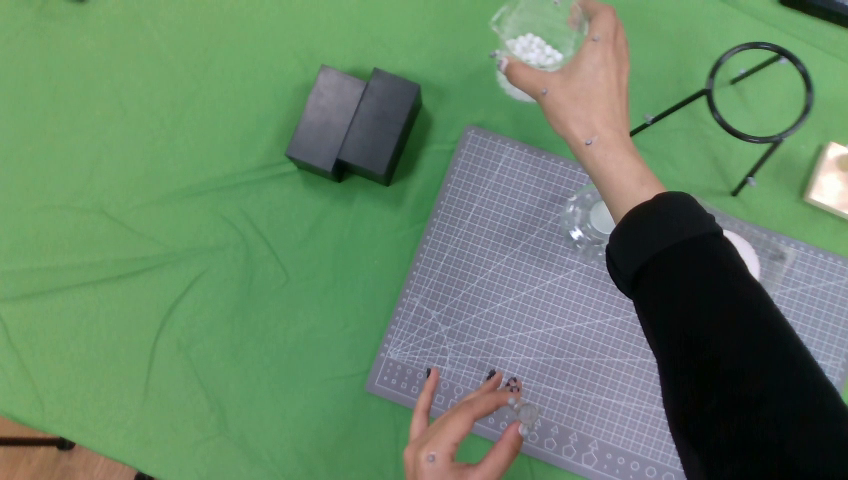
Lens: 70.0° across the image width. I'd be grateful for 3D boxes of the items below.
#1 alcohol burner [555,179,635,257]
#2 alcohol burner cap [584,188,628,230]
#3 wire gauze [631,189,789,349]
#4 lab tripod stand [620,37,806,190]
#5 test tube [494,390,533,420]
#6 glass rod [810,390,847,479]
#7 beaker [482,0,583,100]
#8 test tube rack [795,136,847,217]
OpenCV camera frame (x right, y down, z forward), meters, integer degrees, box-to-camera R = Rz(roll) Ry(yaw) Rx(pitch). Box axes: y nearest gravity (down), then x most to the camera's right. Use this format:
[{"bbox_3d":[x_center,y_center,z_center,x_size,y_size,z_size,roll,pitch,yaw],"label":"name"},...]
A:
[{"bbox_3d":[0.166,-0.024,0.578,0.078,0.119,0.077,0,82,4],"label":"alcohol burner"},{"bbox_3d":[0.165,-0.030,0.542,0.034,0.048,0.033,0,78,-1],"label":"alcohol burner cap"},{"bbox_3d":[0.293,0.028,0.622,0.125,0.011,0.121,32,86,4],"label":"wire gauze"},{"bbox_3d":[0.278,-0.121,0.579,0.148,0.132,0.148,0,85,3],"label":"lab tripod stand"},{"bbox_3d":[0.072,0.134,0.500,0.017,0.151,0.017,0,78,1],"label":"test tube"},{"bbox_3d":[0.430,0.148,0.607,0.008,0.008,0.199,26,87,4],"label":"glass rod"},{"bbox_3d":[0.092,-0.176,0.550,0.084,0.100,0.074,6,84,3],"label":"beaker"},{"bbox_3d":[0.509,-0.034,0.587,0.242,0.085,0.066,24,84,4],"label":"test tube rack"}]
